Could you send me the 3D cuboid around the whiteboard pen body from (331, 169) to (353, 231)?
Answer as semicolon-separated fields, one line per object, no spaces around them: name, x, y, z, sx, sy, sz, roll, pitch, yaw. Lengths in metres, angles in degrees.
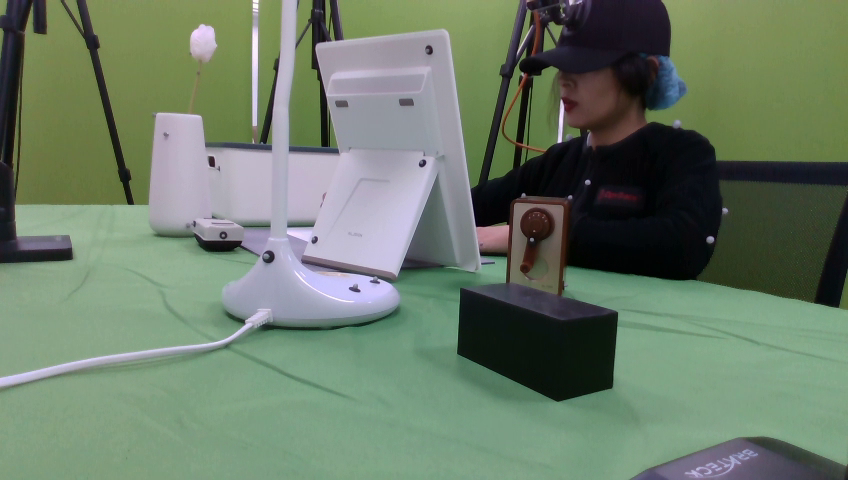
whiteboard pen body;-0.147;-0.072;1.075;0.017;0.140;0.017;7;-36;5

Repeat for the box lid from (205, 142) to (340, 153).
box lid;-0.270;-0.196;1.310;0.373;0.015;0.262;-2;9;-30

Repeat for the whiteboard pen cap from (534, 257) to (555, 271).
whiteboard pen cap;0.167;0.033;0.839;0.018;0.018;0.033;-1;6;-23

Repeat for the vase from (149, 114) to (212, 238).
vase;-0.405;-0.106;1.005;0.098;0.200;0.098;2;6;0

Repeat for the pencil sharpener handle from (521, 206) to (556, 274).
pencil sharpener handle;0.112;0.000;0.613;0.036;0.067;0.031;13;10;14

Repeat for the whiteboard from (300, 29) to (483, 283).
whiteboard;-0.074;-0.082;0.742;0.216;0.305;0.144;9;29;38

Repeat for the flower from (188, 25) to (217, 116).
flower;-0.394;-0.189;1.011;0.044;0.361;0.038;-1;-13;27

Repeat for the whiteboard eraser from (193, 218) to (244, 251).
whiteboard eraser;-0.307;-0.009;0.900;0.056;0.042;0.112;-4;11;-28

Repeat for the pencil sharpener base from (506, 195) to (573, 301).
pencil sharpener base;0.127;0.007;0.663;0.061;0.107;0.077;5;8;15

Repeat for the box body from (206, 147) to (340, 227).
box body;-0.276;-0.122;1.320;0.366;0.160;0.253;-2;9;-30

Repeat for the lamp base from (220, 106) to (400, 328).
lamp base;-0.101;-0.023;0.531;0.160;0.180;0.179;4;10;10
